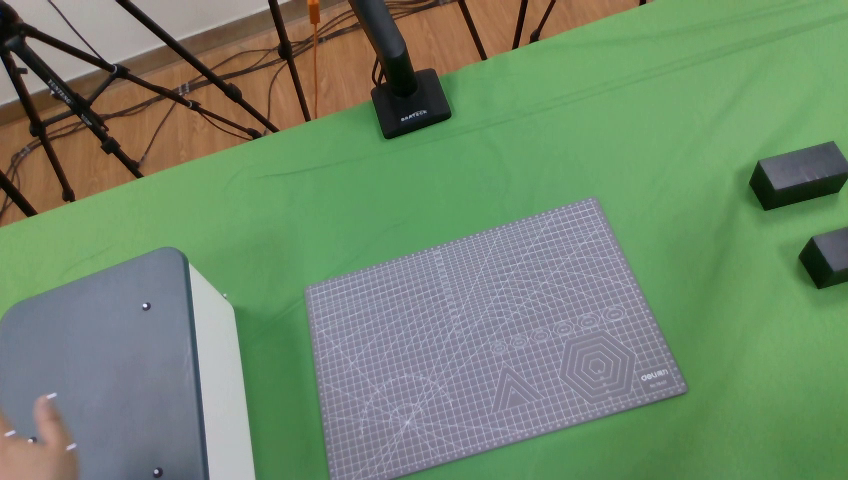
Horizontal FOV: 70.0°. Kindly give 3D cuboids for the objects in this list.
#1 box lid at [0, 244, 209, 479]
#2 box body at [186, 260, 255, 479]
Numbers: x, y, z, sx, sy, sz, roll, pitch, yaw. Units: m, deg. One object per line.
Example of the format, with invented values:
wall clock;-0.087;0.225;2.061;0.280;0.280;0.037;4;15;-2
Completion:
box lid;-0.384;0.189;0.697;0.263;0.015;0.367;-20;60;1
box body;-0.368;0.227;0.760;0.254;0.162;0.360;-20;59;1
